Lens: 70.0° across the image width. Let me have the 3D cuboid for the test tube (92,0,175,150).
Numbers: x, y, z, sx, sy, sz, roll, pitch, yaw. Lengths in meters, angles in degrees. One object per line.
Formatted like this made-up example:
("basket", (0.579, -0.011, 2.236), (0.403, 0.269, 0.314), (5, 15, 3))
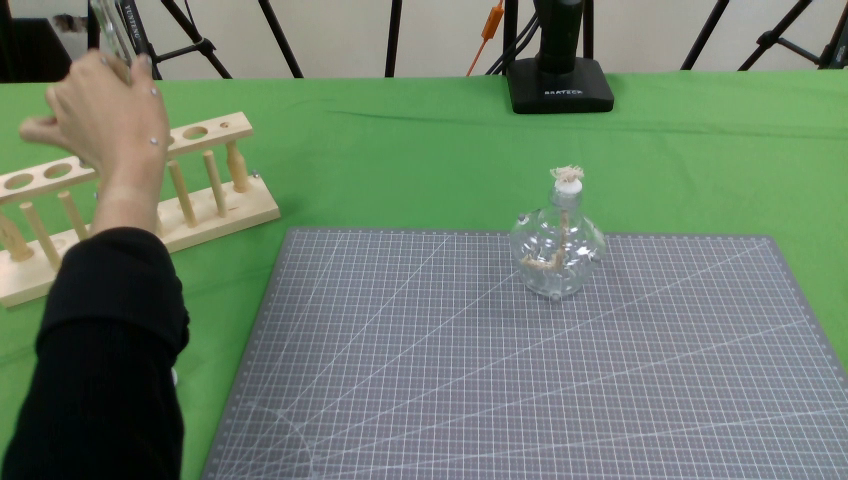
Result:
("test tube", (-0.234, -0.128, 0.498), (0.017, 0.151, 0.017), (0, 48, 1))

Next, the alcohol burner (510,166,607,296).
("alcohol burner", (0.110, -0.011, 0.485), (0.078, 0.120, 0.077), (0, 44, 0))

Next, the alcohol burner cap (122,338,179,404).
("alcohol burner cap", (-0.201, 0.092, 0.440), (0.034, 0.048, 0.033), (-1, 42, 1))

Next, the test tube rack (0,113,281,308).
("test tube rack", (-0.263, -0.032, 0.546), (0.243, 0.086, 0.066), (-21, 45, -20))
